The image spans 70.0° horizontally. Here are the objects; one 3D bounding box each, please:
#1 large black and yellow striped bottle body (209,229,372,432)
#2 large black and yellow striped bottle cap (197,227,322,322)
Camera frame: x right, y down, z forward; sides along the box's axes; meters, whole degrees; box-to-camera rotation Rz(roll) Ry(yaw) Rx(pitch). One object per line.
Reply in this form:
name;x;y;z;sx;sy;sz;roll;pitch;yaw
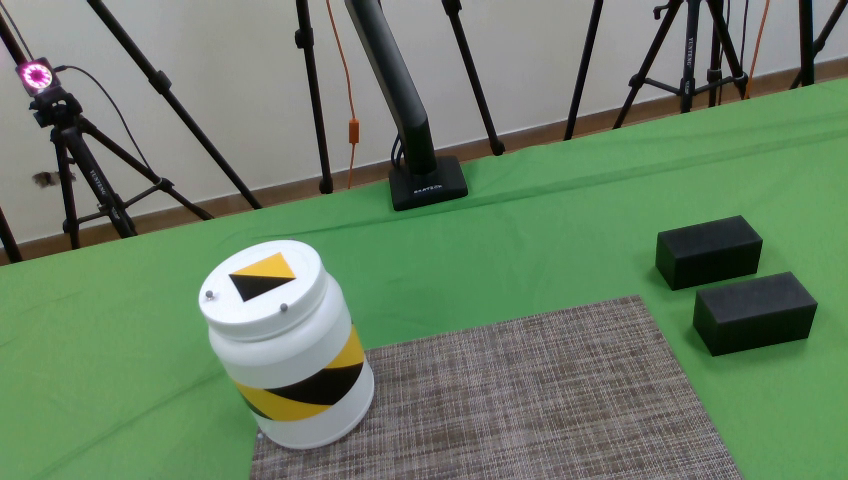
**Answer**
large black and yellow striped bottle body;-0.135;0.092;0.615;0.130;0.186;0.129;-8;39;7
large black and yellow striped bottle cap;-0.152;0.029;0.562;0.115;0.019;0.114;-7;38;6
